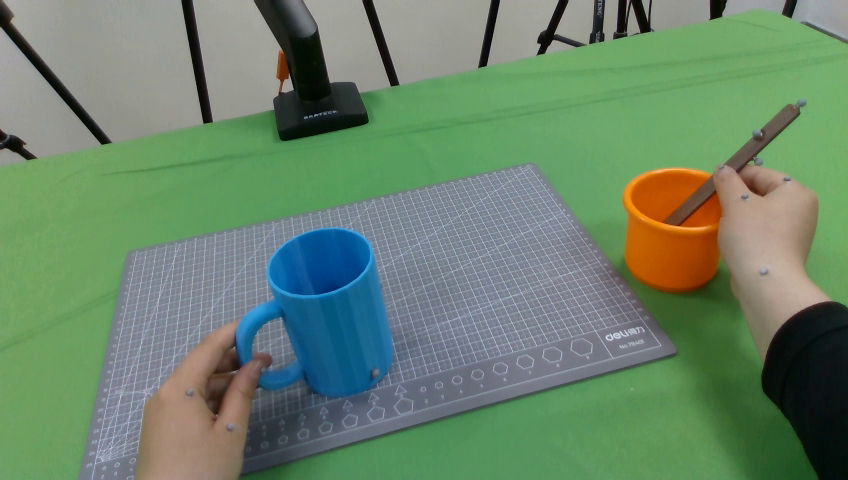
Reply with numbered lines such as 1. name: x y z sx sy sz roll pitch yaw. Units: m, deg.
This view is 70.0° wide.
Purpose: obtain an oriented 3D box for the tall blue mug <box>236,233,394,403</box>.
1. tall blue mug: -0.074 0.069 0.448 0.077 0.109 0.107 14 43 23

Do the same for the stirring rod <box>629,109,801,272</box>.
1. stirring rod: 0.236 -0.037 0.502 0.006 0.176 0.014 21 30 -35
